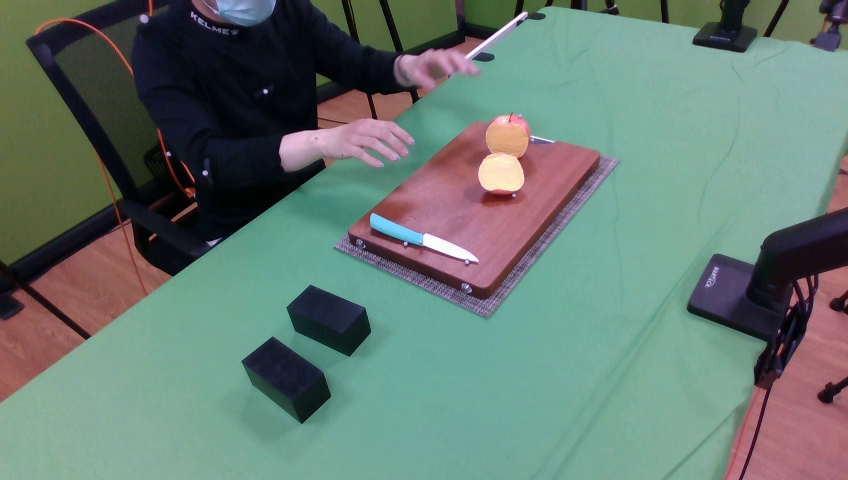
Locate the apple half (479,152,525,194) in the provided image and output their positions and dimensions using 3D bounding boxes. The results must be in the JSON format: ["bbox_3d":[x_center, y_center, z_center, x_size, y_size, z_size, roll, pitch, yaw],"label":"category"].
[{"bbox_3d":[0.131,-0.108,1.016,0.081,0.033,0.081,0,66,1],"label":"apple half"}]

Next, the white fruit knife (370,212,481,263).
[{"bbox_3d":[-0.003,-0.002,0.930,0.206,0.016,0.027,20,62,26],"label":"white fruit knife"}]

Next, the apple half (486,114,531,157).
[{"bbox_3d":[0.154,-0.190,1.084,0.080,0.075,0.053,5,38,20],"label":"apple half"}]
